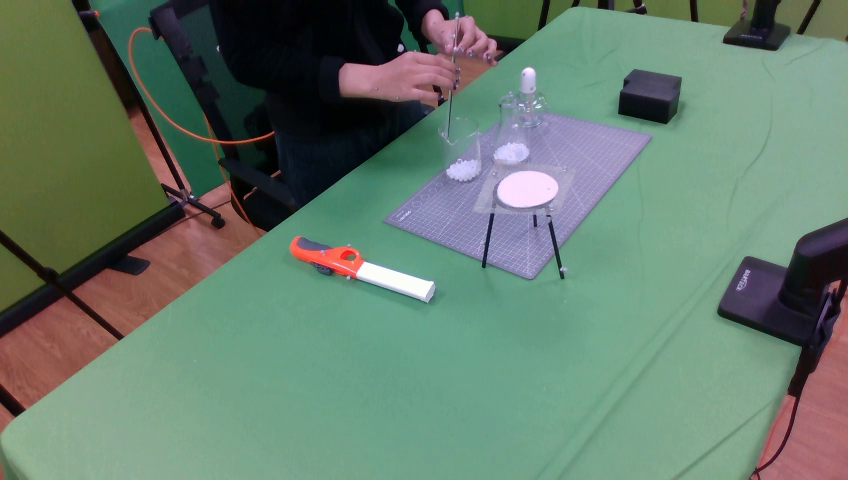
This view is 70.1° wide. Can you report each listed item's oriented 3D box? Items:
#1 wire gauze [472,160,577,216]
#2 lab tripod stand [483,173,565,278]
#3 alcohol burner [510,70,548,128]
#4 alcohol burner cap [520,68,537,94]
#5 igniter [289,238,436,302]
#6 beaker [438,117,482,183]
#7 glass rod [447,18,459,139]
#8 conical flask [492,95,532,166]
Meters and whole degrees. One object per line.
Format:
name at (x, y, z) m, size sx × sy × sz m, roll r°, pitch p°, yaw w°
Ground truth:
wire gauze at (0.143, -0.073, 0.850) m, size 0.121 × 0.011 × 0.125 m, roll 8°, pitch 43°, yaw 22°
lab tripod stand at (0.151, -0.025, 0.896) m, size 0.148 × 0.132 × 0.147 m, roll -7°, pitch 40°, yaw 6°
alcohol burner at (0.209, -0.287, 1.208) m, size 0.078 × 0.119 × 0.077 m, roll -5°, pitch 42°, yaw 5°
alcohol burner cap at (0.205, -0.313, 1.183) m, size 0.034 × 0.048 × 0.033 m, roll -3°, pitch 50°, yaw 4°
igniter at (-0.106, 0.043, 0.949) m, size 0.274 × 0.025 × 0.057 m, roll 16°, pitch 56°, yaw 27°
beaker at (0.068, -0.160, 1.097) m, size 0.073 × 0.101 × 0.084 m, roll 7°, pitch 43°, yaw 19°
glass rod at (0.048, -0.268, 1.018) m, size 0.008 × 0.200 × 0.008 m, roll 3°, pitch 23°, yaw -1°
conical flask at (0.159, -0.203, 1.111) m, size 0.075 × 0.122 × 0.075 m, roll -6°, pitch 40°, yaw 5°
